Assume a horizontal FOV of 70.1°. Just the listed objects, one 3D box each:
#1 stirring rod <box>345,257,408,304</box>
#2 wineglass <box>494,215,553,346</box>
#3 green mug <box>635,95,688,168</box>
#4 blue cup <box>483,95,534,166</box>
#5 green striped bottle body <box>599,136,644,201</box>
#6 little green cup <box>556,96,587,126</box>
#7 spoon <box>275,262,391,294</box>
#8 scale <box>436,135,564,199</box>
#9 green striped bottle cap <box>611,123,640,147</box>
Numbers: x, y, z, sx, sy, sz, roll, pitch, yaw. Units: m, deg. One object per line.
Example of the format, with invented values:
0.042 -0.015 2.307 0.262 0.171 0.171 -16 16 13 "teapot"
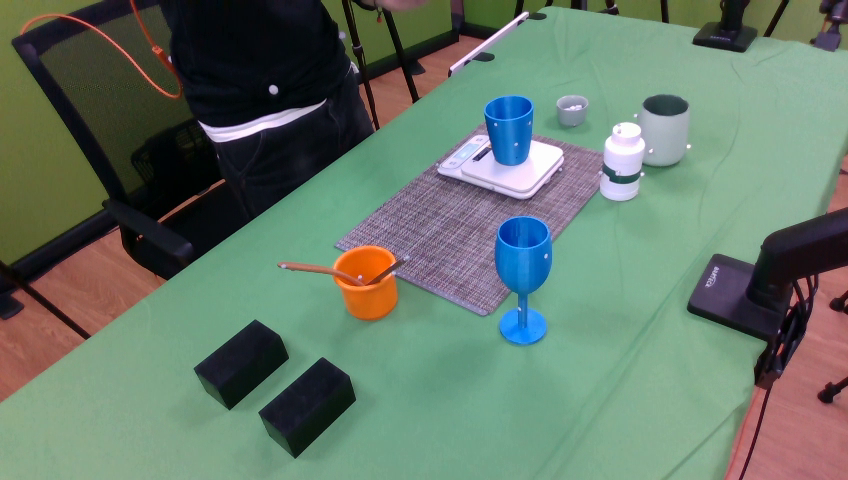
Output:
-0.067 0.057 0.815 0.014 0.175 0.006 -24 82 -38 "stirring rod"
0.126 0.055 0.770 0.074 0.173 0.073 -4 40 4 "wineglass"
0.421 -0.201 1.081 0.092 0.105 0.125 5 42 15 "green mug"
0.150 -0.187 1.051 0.092 0.101 0.092 -6 41 6 "blue cup"
0.326 -0.128 0.997 0.063 0.120 0.063 -4 41 4 "green striped bottle body"
0.295 -0.258 1.214 0.061 0.039 0.061 -4 42 4 "little green cup"
-0.120 0.050 0.830 0.041 0.195 0.021 32 97 45 "spoon"
0.137 -0.142 1.101 0.199 0.032 0.149 22 48 30 "scale"
0.322 -0.168 0.963 0.044 0.020 0.044 -3 41 3 "green striped bottle cap"
